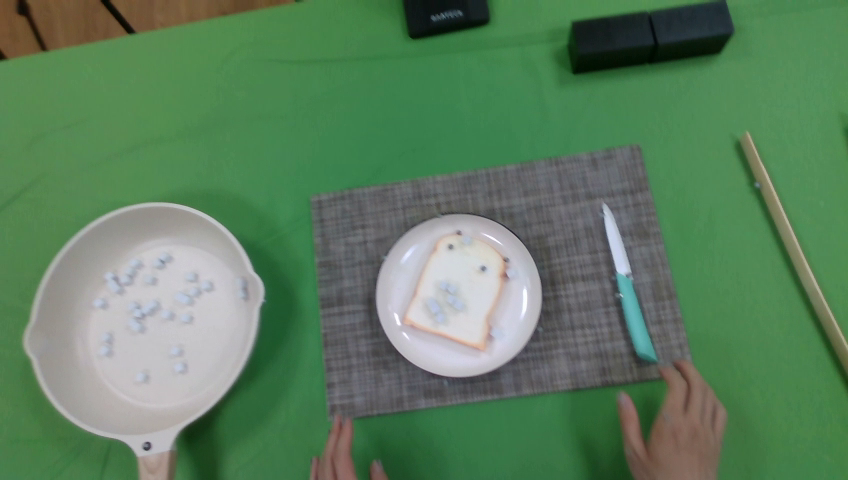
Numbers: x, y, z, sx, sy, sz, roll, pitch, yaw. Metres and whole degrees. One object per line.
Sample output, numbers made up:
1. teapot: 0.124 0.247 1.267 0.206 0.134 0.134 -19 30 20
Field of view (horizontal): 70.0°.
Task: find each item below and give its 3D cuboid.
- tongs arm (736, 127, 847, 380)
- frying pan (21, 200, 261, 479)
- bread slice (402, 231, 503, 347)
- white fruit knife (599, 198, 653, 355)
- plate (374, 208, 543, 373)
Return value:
1. tongs arm: 0.468 0.034 0.737 0.028 0.028 0.385 -17 75 -1
2. frying pan: -0.327 0.189 0.730 0.307 0.103 0.483 -12 66 3
3. bread slice: 0.040 0.056 0.763 0.107 0.018 0.134 14 79 8
4. white fruit knife: 0.248 0.043 0.758 0.027 0.016 0.206 -2 71 -25
5. plate: 0.043 0.063 0.759 0.207 0.039 0.206 -1 75 5
